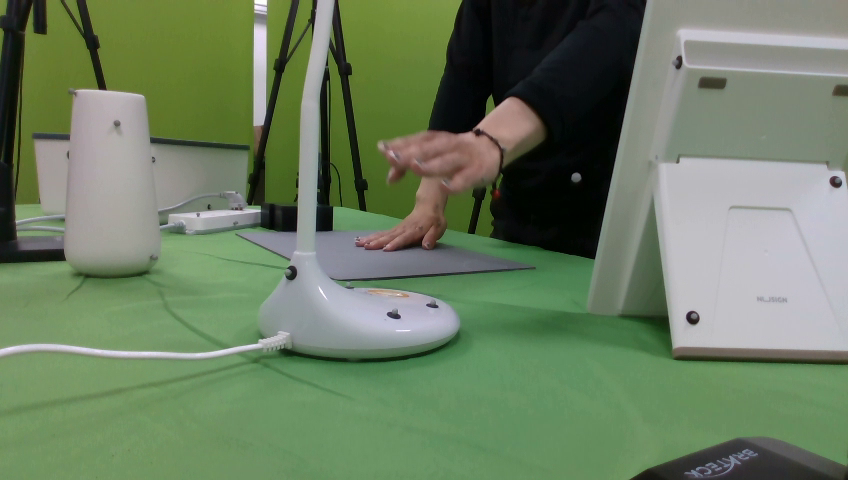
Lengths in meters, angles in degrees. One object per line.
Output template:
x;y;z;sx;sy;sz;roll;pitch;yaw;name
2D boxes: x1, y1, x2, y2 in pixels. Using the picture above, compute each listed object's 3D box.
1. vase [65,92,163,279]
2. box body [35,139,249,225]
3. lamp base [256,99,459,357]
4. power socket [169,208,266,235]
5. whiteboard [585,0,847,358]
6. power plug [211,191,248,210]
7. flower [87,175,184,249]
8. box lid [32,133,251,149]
-0.347;-0.060;0.673;0.098;0.200;0.098;1;7;0;vase
-0.561;-0.127;1.258;0.254;0.160;0.365;4;8;13;box body
-0.055;-0.013;0.463;0.160;0.180;0.180;6;11;27;lamp base
-0.379;-0.038;1.130;0.072;0.032;0.227;4;8;18;power socket
0.269;-0.034;0.466;0.217;0.305;0.143;2;27;-1;whiteboard
-0.384;-0.071;1.206;0.072;0.052;0.035;1;7;27;power plug
-0.610;-0.063;1.291;0.044;0.038;0.361;-5;25;9;flower
-0.558;-0.200;1.250;0.263;0.015;0.372;5;8;13;box lid
